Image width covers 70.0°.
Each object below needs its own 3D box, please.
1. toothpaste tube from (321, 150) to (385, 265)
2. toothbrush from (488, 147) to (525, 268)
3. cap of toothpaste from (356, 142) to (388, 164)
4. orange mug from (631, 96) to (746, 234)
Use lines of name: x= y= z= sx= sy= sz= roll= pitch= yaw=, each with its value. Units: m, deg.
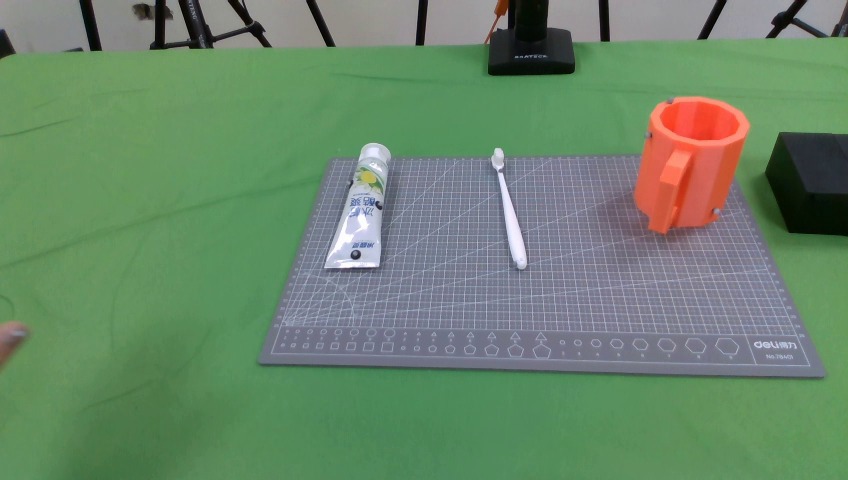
toothpaste tube: x=-0.067 y=-0.037 z=0.629 sx=0.055 sy=0.035 sz=0.163 roll=-4 pitch=46 yaw=10
toothbrush: x=0.085 y=-0.039 z=0.624 sx=0.014 sy=0.017 sz=0.180 roll=8 pitch=43 yaw=-11
cap of toothpaste: x=-0.059 y=-0.095 z=0.681 sx=0.037 sy=0.038 sz=0.011 roll=0 pitch=47 yaw=5
orange mug: x=0.244 y=-0.067 z=0.579 sx=0.083 sy=0.102 sz=0.126 roll=21 pitch=44 yaw=26
